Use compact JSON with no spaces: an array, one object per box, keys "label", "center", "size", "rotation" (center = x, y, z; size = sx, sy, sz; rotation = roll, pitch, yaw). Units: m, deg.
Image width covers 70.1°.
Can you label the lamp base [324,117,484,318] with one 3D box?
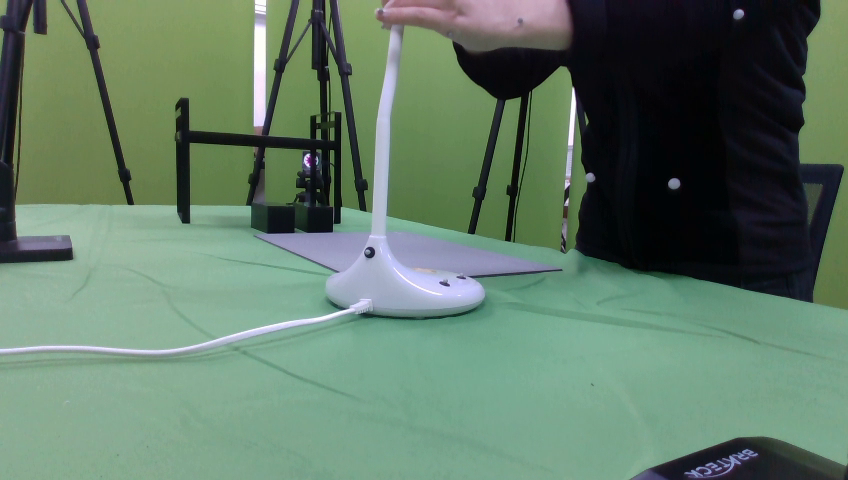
[{"label":"lamp base","center":[-0.021,-0.025,0.583],"size":[0.160,0.180,0.179],"rotation":[5,10,17]}]
